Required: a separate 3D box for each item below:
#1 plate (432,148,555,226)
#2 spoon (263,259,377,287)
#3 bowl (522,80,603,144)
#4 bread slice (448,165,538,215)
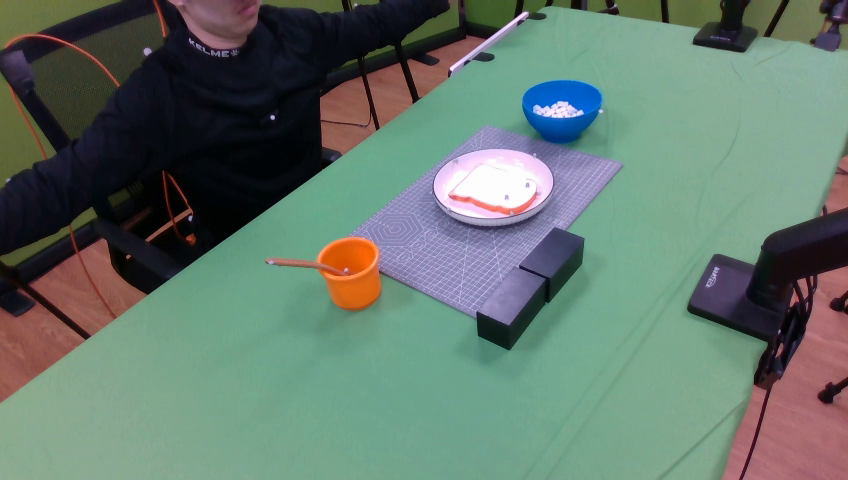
[{"bbox_3d":[0.119,-0.087,1.037,0.209,0.038,0.208,-4,40,4],"label":"plate"},{"bbox_3d":[-0.140,0.042,0.843,0.041,0.195,0.021,35,100,41],"label":"spoon"},{"bbox_3d":[0.264,-0.239,1.166,0.151,0.077,0.150,-4,41,4],"label":"bowl"},{"bbox_3d":[0.126,-0.085,1.038,0.133,0.018,0.107,16,45,27],"label":"bread slice"}]
